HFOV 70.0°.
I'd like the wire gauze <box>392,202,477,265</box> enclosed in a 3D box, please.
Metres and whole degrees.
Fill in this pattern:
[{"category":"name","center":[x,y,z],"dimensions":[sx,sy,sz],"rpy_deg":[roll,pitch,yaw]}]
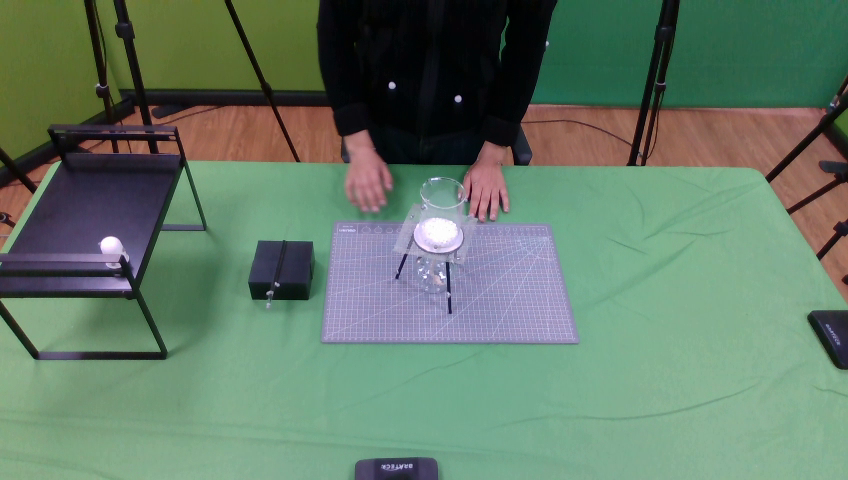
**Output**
[{"category":"wire gauze","center":[0.021,-0.011,1.037],"dimensions":[0.121,0.011,0.124],"rpy_deg":[13,49,8]}]

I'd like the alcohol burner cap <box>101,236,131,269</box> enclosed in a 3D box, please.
[{"category":"alcohol burner cap","center":[-0.452,0.016,0.883],"dimensions":[0.034,0.048,0.033],"rpy_deg":[2,47,-1]}]

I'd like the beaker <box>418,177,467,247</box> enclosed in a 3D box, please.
[{"category":"beaker","center":[0.026,-0.045,1.004],"dimensions":[0.074,0.101,0.083],"rpy_deg":[-20,51,-23]}]

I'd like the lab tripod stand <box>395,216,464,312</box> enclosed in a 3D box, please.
[{"category":"lab tripod stand","center":[0.023,0.037,1.084],"dimensions":[0.148,0.132,0.147],"rpy_deg":[4,47,-4]}]

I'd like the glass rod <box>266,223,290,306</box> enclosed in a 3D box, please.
[{"category":"glass rod","center":[-0.260,0.039,1.083],"dimensions":[0.008,0.008,0.198],"rpy_deg":[3,46,-1]}]

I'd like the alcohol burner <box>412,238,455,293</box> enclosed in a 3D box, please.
[{"category":"alcohol burner","center":[0.019,0.040,1.094],"dimensions":[0.078,0.119,0.077],"rpy_deg":[4,45,-3]}]
